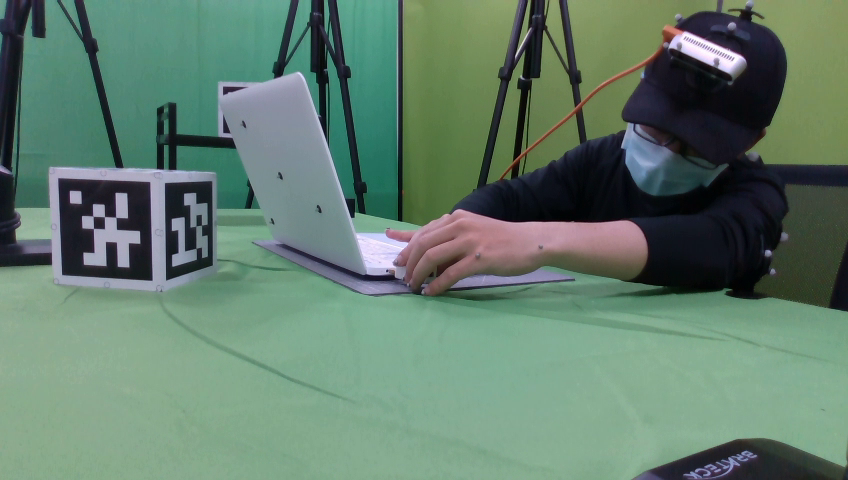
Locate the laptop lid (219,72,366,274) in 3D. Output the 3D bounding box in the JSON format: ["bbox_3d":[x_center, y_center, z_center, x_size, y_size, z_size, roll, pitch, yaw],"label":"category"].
[{"bbox_3d":[-0.188,-0.087,0.800,0.013,0.242,0.355,-26,21,-26],"label":"laptop lid"}]

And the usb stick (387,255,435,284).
[{"bbox_3d":[-0.017,0.032,0.685,0.059,0.027,0.021,7,9,37],"label":"usb stick"}]

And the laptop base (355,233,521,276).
[{"bbox_3d":[-0.056,0.018,0.897,0.237,0.023,0.352,2,6,-32],"label":"laptop base"}]
